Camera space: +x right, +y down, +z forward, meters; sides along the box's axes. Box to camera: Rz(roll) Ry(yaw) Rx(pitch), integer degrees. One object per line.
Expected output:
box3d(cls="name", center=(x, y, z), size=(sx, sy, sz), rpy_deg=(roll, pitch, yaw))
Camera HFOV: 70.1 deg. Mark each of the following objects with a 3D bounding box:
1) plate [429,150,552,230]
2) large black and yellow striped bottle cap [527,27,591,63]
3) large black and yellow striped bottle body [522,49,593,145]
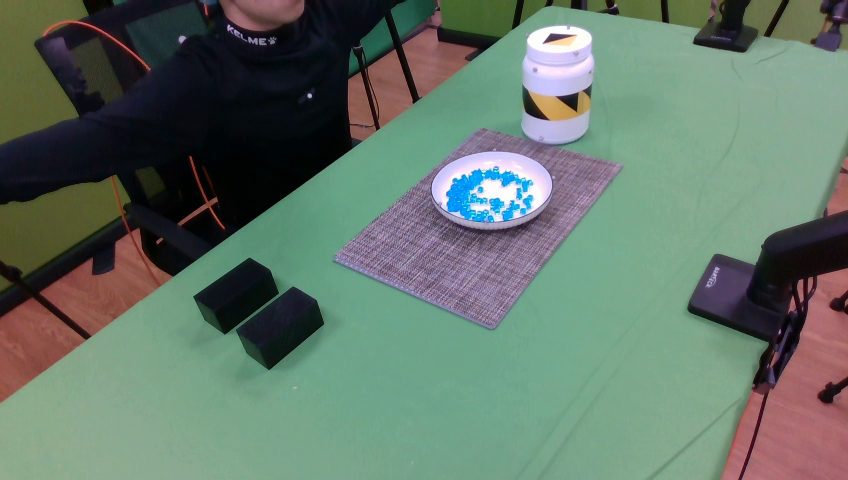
box3d(cls="plate", center=(0.113, -0.082, 1.032), size=(0.207, 0.039, 0.206), rpy_deg=(-4, 41, 4))
box3d(cls="large black and yellow striped bottle cap", center=(0.243, -0.353, 1.092), size=(0.115, 0.019, 0.114), rpy_deg=(-4, 42, 4))
box3d(cls="large black and yellow striped bottle body", center=(0.251, -0.289, 1.146), size=(0.131, 0.185, 0.130), rpy_deg=(-4, 40, 4))
